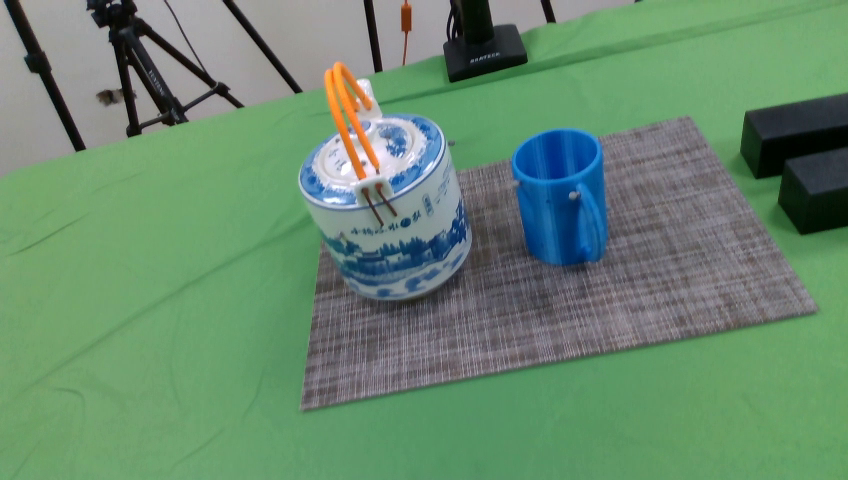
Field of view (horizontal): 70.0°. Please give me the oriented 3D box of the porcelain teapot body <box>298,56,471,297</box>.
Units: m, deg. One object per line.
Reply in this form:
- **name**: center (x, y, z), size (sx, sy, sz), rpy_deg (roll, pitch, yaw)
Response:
- **porcelain teapot body**: center (-0.048, -0.079, 0.598), size (0.145, 0.228, 0.203), rpy_deg (-18, 42, 3)

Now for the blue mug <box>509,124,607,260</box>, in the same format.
- **blue mug**: center (0.137, -0.036, 0.573), size (0.082, 0.107, 0.115), rpy_deg (-24, 42, -4)

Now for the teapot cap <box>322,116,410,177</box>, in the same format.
- **teapot cap**: center (-0.054, -0.089, 0.551), size (0.085, 0.044, 0.084), rpy_deg (-9, 41, 8)
